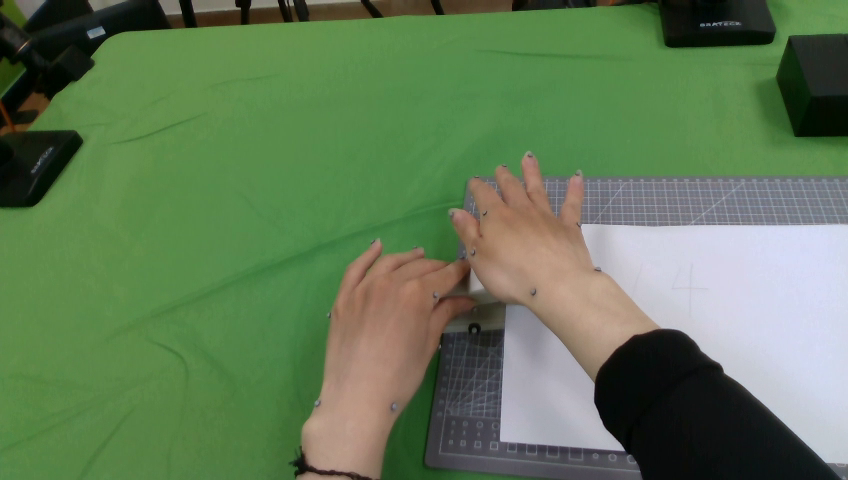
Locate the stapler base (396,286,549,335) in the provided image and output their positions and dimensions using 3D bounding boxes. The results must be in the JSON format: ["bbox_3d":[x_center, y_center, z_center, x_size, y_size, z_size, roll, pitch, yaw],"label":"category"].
[{"bbox_3d":[0.039,0.054,0.512,0.130,0.025,0.041,-5,47,9],"label":"stapler base"}]

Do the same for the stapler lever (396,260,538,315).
[{"bbox_3d":[0.033,0.040,0.494,0.118,0.040,0.026,-4,47,8],"label":"stapler lever"}]
